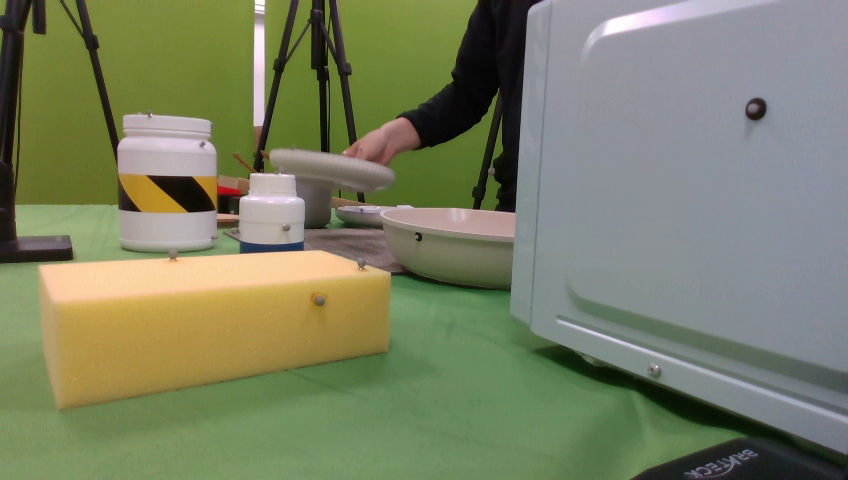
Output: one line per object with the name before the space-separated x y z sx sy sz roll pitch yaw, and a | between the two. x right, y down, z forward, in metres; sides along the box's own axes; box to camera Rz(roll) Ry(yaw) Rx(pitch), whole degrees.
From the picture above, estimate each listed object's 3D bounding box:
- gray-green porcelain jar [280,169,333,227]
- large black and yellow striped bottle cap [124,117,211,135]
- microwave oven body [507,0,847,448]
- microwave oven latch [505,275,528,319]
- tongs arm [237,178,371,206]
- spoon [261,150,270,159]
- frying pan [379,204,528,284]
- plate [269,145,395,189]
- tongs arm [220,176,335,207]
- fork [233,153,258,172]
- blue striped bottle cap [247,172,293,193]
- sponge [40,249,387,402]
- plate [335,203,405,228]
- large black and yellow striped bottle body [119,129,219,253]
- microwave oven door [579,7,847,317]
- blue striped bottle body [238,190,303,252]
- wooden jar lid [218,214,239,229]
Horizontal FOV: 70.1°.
gray-green porcelain jar | -0.238 -0.092 1.221 0.106 0.126 0.106 2 7 0
large black and yellow striped bottle cap | -0.366 -0.163 0.866 0.115 0.019 0.115 3 7 0
microwave oven body | 0.331 -0.042 0.425 0.444 0.260 0.324 -2 8 -31
microwave oven latch | 0.100 0.042 0.471 0.079 0.029 0.030 -2 7 -29
tongs arm | -0.242 -0.095 1.374 0.387 0.026 0.050 9 -1 -37
spoon | -0.229 -0.162 1.222 0.194 0.021 0.041 3 -1 -16
frying pan | 0.187 -0.015 0.809 0.489 0.102 0.306 -7 12 -13
plate | -0.154 -0.116 1.006 0.209 0.038 0.209 8 -1 0
tongs arm | -0.285 -0.104 1.445 0.389 0.027 0.028 9 -4 -23
fork | -0.396 -0.143 1.486 0.028 0.018 0.208 20 -26 45
blue striped bottle cap | -0.152 -0.057 0.598 0.044 0.020 0.044 3 6 0
sponge | -0.142 0.047 0.420 0.208 0.061 0.117 -3 8 -36
plate | -0.089 -0.053 1.309 0.208 0.039 0.207 2 8 0
large black and yellow striped bottle body | -0.367 -0.080 0.876 0.131 0.184 0.130 2 7 0
microwave oven door | 0.294 -0.067 0.570 0.358 0.243 0.039 -3 9 -31
blue striped bottle body | -0.153 -0.007 0.606 0.063 0.120 0.063 2 8 0
wooden jar lid | -0.404 -0.037 1.169 0.108 0.020 0.108 3 7 0
